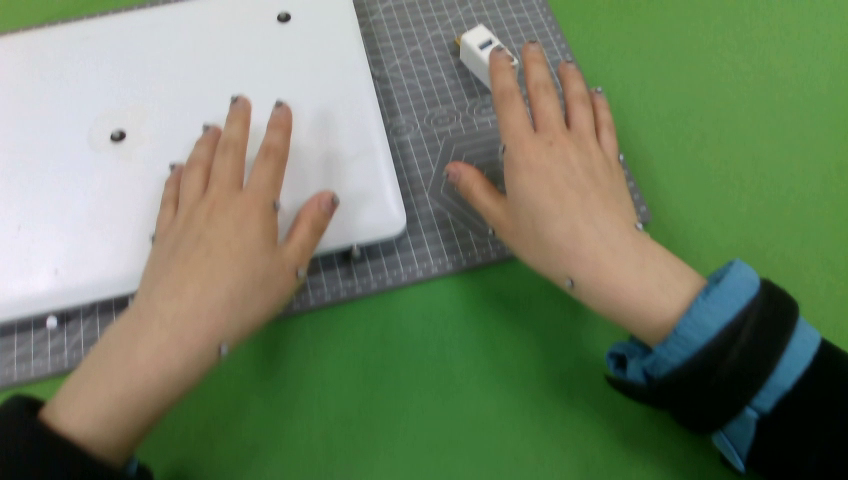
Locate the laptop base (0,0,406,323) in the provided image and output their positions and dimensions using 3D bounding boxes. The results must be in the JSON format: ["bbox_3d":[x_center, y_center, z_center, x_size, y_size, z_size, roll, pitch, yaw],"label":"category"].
[{"bbox_3d":[-0.207,-0.068,0.426,0.355,0.023,0.233,-13,69,-5],"label":"laptop base"}]

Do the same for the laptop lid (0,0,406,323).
[{"bbox_3d":[-0.206,-0.071,0.415,0.357,0.013,0.239,-11,68,-4],"label":"laptop lid"}]

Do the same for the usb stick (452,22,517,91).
[{"bbox_3d":[0.042,-0.140,0.448,0.021,0.027,0.058,-34,66,-13],"label":"usb stick"}]
